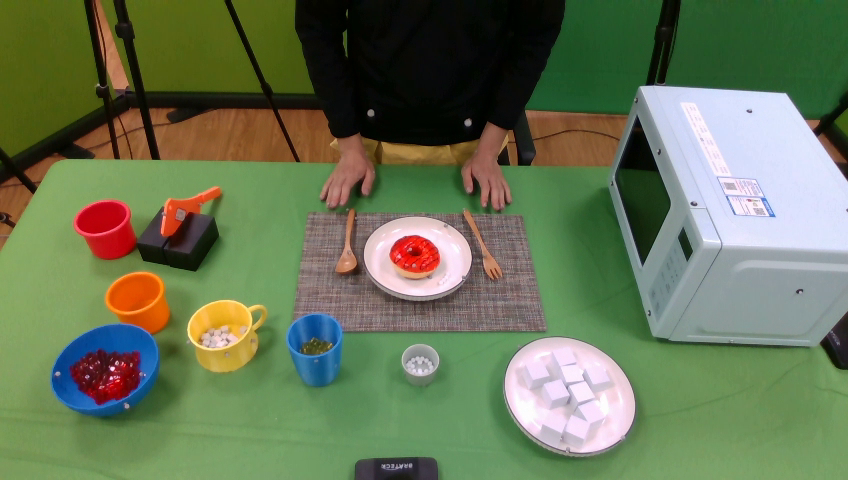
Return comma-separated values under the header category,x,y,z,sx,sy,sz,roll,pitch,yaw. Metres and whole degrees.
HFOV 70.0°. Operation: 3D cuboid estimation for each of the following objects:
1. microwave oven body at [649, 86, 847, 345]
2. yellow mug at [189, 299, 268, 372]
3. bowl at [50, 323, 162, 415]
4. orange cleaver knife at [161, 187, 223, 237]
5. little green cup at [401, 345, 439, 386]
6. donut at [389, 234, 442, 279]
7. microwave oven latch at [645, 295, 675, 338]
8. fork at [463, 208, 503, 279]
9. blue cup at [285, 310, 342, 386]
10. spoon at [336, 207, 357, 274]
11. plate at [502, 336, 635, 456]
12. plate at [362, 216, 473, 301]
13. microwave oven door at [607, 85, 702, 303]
category,x,y,z,sx,sy,sz,roll,pitch,yaw
microwave oven body,0.568,-0.053,1.118,0.326,0.261,0.439,2,45,-1
yellow mug,-0.316,0.148,1.002,0.131,0.064,0.099,-32,56,-31
bowl,-0.472,0.209,0.924,0.151,0.077,0.150,2,45,-2
orange cleaver knife,-0.448,-0.058,1.181,0.012,0.077,0.211,13,17,6
little green cup,-0.007,0.206,0.988,0.061,0.039,0.061,2,46,-2
donut,-0.016,0.031,1.135,0.099,0.048,0.098,4,44,-3
microwave oven latch,0.412,0.134,1.061,0.030,0.029,0.078,3,45,0
fork,0.112,0.003,1.199,0.028,0.019,0.206,-20,50,-1
blue cup,-0.170,0.179,0.958,0.093,0.101,0.092,2,44,-1
spoon,-0.147,-0.002,1.184,0.041,0.022,0.192,-16,45,14
plate,0.225,0.248,0.963,0.208,0.039,0.206,2,46,-2
plate,-0.012,0.038,1.144,0.209,0.038,0.208,2,46,-2
microwave oven door,0.423,-0.094,1.141,0.039,0.245,0.353,2,46,-1
